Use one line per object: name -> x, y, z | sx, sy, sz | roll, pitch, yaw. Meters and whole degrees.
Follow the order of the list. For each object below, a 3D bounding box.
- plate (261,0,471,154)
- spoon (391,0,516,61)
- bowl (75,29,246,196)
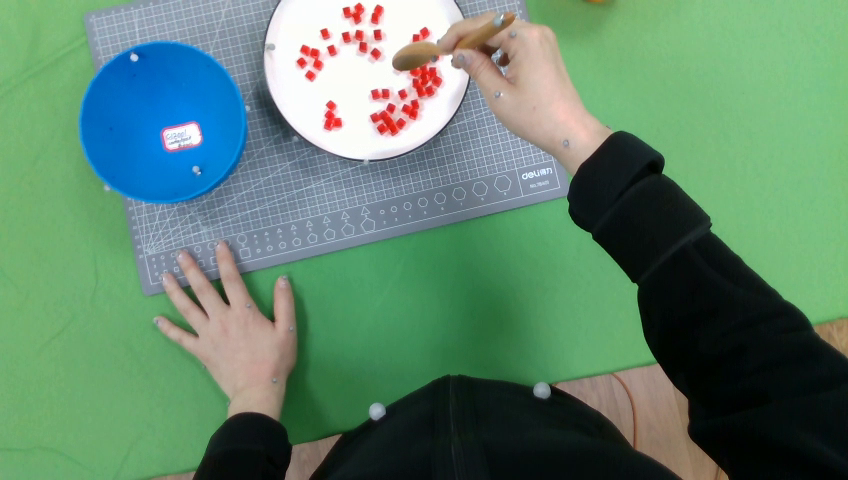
plate -> -0.057, -0.189, 0.612 | 0.209, 0.038, 0.209 | 0, 88, -1
spoon -> 0.021, -0.162, 0.479 | 0.042, 0.192, 0.022 | -12, 105, -22
bowl -> -0.240, -0.113, 0.585 | 0.151, 0.077, 0.151 | 0, 89, -2
